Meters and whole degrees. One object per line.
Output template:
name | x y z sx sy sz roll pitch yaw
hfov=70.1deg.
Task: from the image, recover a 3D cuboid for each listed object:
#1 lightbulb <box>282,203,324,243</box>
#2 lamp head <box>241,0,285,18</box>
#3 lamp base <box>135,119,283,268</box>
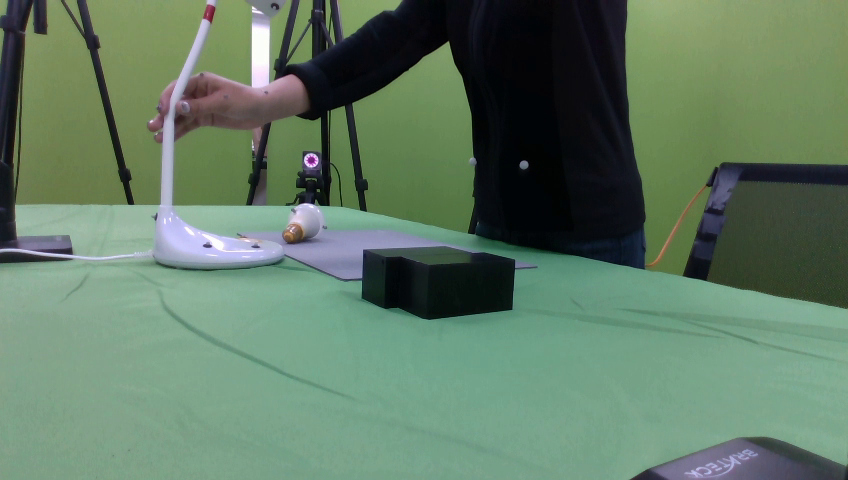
lightbulb | -0.203 -0.023 0.992 0.059 0.059 0.108 3 23 12
lamp head | -0.233 -0.365 0.790 0.123 0.112 0.112 15 -1 -33
lamp base | -0.273 -0.061 0.769 0.180 0.180 0.160 -7 11 -37
